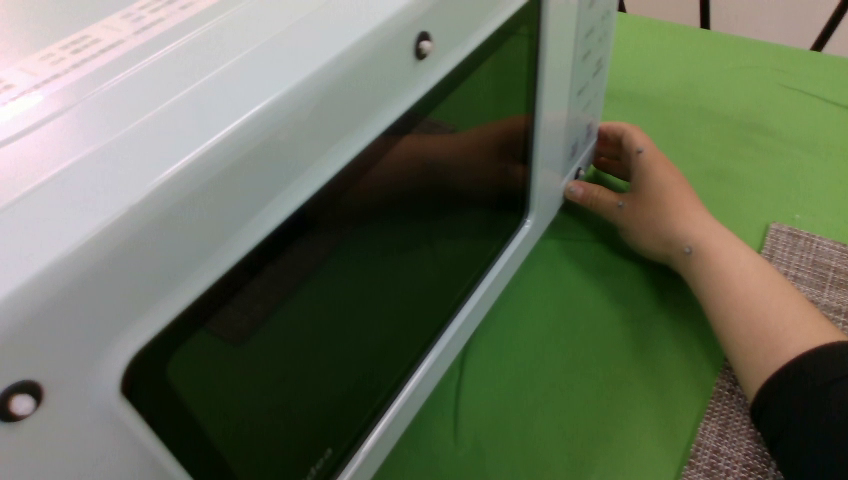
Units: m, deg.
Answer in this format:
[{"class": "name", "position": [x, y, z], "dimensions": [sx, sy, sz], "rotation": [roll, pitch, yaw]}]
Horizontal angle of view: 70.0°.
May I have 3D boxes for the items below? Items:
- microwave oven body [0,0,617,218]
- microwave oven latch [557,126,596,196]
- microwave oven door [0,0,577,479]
[{"class": "microwave oven body", "position": [-0.114, -0.073, 0.387], "dimensions": [0.324, 0.263, 0.440], "rotation": [23, 53, 24]}, {"class": "microwave oven latch", "position": [0.113, -0.066, 0.496], "dimensions": [0.030, 0.030, 0.079], "rotation": [25, 54, 26]}, {"class": "microwave oven door", "position": [-0.014, 0.000, 0.300], "dimensions": [0.039, 0.246, 0.354], "rotation": [22, 52, 25]}]
